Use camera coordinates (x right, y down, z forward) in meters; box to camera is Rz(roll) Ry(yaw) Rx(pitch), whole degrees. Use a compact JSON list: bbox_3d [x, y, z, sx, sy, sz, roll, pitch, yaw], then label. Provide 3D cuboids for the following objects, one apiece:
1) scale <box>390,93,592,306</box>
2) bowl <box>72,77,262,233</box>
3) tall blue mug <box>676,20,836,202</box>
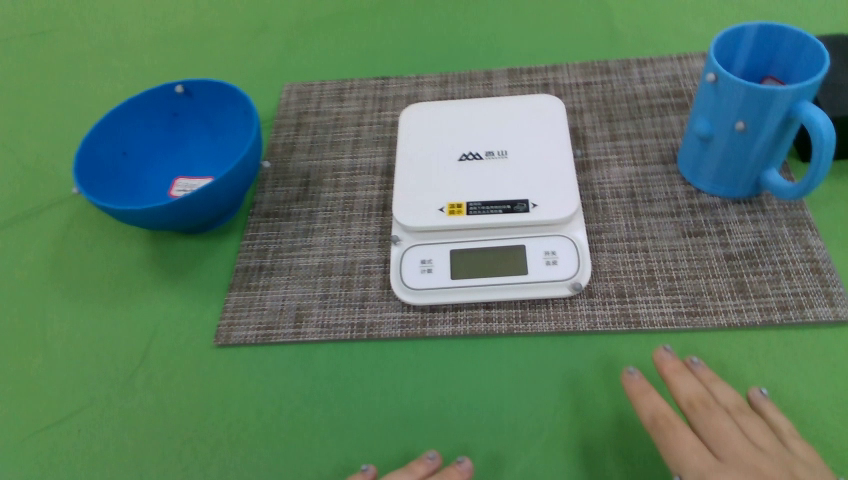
[{"bbox_3d":[0.049,-0.040,0.489,0.148,0.032,0.199,-3,53,6],"label":"scale"},{"bbox_3d":[-0.202,-0.059,0.515,0.151,0.077,0.150,-4,53,5],"label":"bowl"},{"bbox_3d":[0.251,-0.087,0.446,0.106,0.109,0.077,31,62,28],"label":"tall blue mug"}]
